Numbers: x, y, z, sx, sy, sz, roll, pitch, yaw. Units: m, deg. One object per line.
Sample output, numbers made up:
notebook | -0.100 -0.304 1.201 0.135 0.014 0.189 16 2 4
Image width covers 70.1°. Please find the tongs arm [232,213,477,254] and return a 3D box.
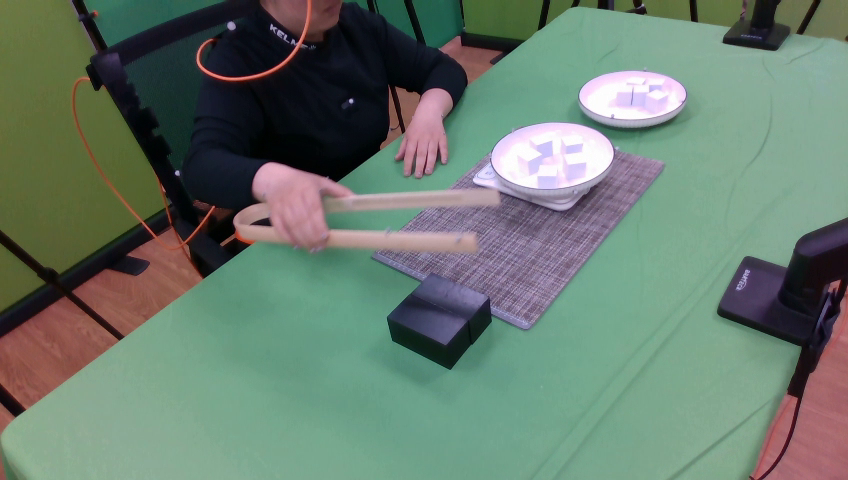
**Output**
tongs arm | -0.106 -0.011 0.799 0.382 0.027 0.051 1 39 24

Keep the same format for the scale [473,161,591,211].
scale | 0.202 -0.121 1.074 0.199 0.032 0.149 23 49 33

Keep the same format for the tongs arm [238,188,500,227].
tongs arm | -0.086 -0.046 0.843 0.386 0.028 0.028 -3 41 19

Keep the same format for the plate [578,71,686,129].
plate | 0.416 -0.280 1.222 0.209 0.038 0.208 -5 41 5

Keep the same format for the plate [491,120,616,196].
plate | 0.221 -0.137 1.038 0.207 0.039 0.206 -6 41 5
